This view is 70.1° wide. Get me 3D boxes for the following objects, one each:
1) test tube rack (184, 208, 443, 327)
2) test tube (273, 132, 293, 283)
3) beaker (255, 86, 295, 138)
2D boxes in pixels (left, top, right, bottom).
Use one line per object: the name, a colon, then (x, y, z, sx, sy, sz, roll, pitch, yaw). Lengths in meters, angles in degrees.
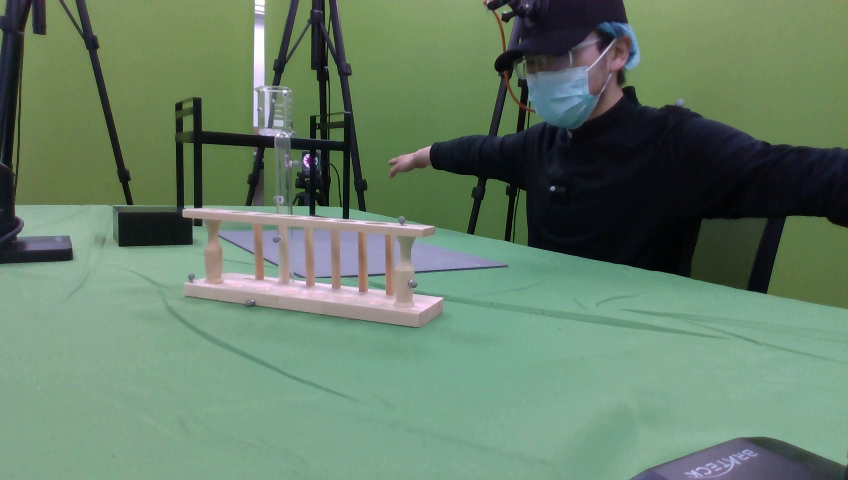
test tube rack: (-0.106, 0.019, 0.570, 0.241, 0.085, 0.067, 5, 8, 19)
test tube: (-0.139, -0.030, 0.596, 0.017, 0.150, 0.017, 1, 9, 0)
beaker: (-0.309, -0.263, 1.251, 0.084, 0.100, 0.073, -4, 9, -38)
